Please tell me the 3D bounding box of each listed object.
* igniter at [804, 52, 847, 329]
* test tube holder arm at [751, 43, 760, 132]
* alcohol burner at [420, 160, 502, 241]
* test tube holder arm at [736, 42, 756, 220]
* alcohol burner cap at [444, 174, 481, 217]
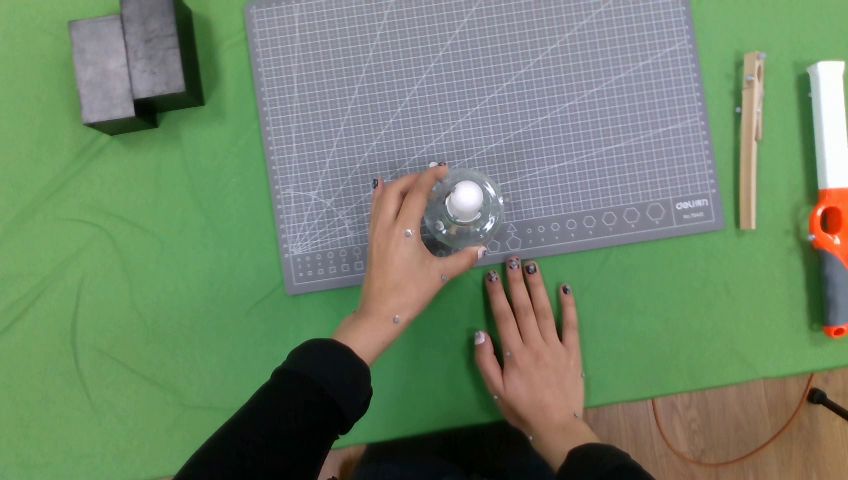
[{"bbox_3d":[0.409,-0.050,0.609,0.057,0.025,0.276,-3,90,-10],"label":"igniter"},{"bbox_3d":[0.332,-0.154,0.616,0.010,0.015,0.088,3,90,-35],"label":"test tube holder arm"},{"bbox_3d":[0.035,-0.038,0.558,0.078,0.119,0.078,0,86,0],"label":"alcohol burner"},{"bbox_3d":[0.326,-0.109,0.613,0.013,0.015,0.178,1,92,-35],"label":"test tube holder arm"},{"bbox_3d":[0.034,-0.040,0.522,0.034,0.048,0.033,0,81,1],"label":"alcohol burner cap"}]
